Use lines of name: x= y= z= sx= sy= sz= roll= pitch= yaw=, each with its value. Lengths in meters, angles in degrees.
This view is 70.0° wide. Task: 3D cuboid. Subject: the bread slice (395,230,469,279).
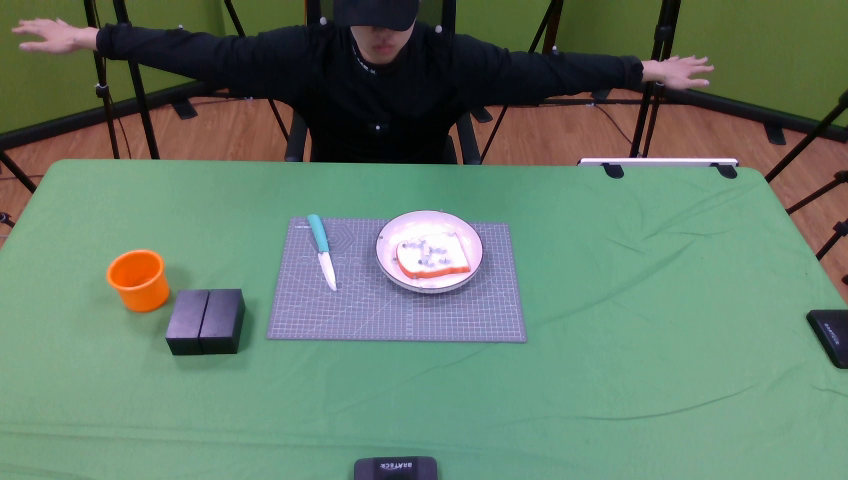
bread slice: x=0.011 y=0.029 z=1.158 sx=0.132 sy=0.019 sz=0.104 roll=-9 pitch=48 yaw=-14

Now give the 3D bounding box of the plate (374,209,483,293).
plate: x=0.009 y=0.024 z=1.160 sx=0.209 sy=0.038 sz=0.208 roll=2 pitch=46 yaw=-2

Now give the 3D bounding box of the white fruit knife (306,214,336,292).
white fruit knife: x=-0.195 y=0.021 z=1.164 sx=0.027 sy=0.016 sz=0.206 roll=-30 pitch=51 yaw=8
